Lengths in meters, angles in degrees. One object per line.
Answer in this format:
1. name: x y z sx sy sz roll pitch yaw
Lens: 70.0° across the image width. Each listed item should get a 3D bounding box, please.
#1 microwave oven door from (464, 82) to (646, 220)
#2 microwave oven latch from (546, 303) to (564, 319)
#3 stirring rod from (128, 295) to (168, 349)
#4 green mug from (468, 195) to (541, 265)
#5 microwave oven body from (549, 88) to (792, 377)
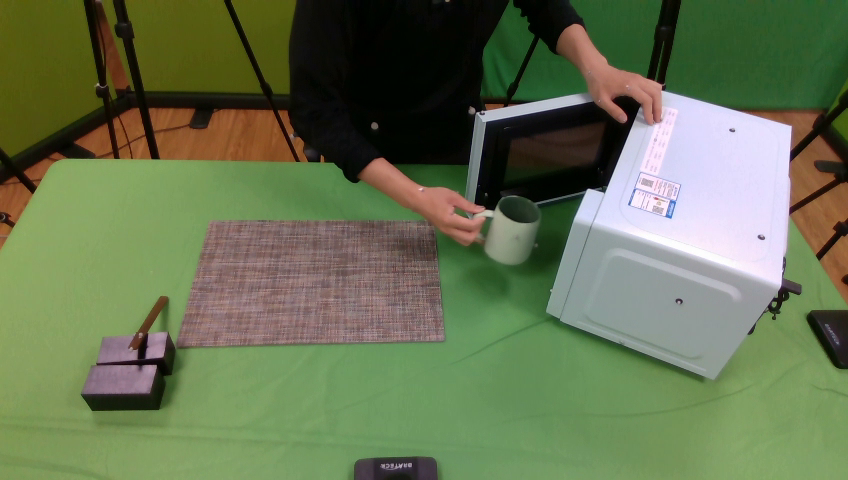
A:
1. microwave oven door: 0.258 -0.177 1.209 0.356 0.245 0.039 -14 48 -16
2. microwave oven latch: 0.242 0.102 1.081 0.030 0.029 0.079 22 48 17
3. stirring rod: -0.451 0.131 0.996 0.014 0.006 0.175 9 21 -10
4. green mug: 0.143 -0.019 1.093 0.125 0.105 0.092 8 43 -5
5. microwave oven body: 0.456 -0.028 1.088 0.325 0.261 0.440 20 47 16
